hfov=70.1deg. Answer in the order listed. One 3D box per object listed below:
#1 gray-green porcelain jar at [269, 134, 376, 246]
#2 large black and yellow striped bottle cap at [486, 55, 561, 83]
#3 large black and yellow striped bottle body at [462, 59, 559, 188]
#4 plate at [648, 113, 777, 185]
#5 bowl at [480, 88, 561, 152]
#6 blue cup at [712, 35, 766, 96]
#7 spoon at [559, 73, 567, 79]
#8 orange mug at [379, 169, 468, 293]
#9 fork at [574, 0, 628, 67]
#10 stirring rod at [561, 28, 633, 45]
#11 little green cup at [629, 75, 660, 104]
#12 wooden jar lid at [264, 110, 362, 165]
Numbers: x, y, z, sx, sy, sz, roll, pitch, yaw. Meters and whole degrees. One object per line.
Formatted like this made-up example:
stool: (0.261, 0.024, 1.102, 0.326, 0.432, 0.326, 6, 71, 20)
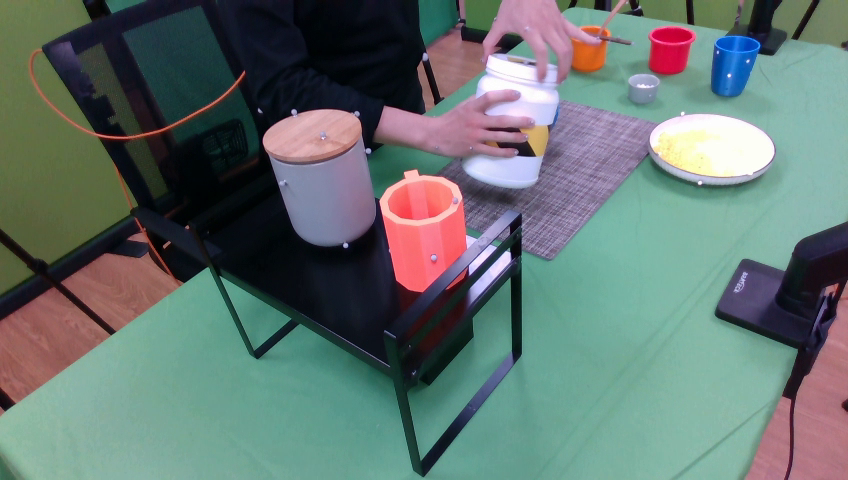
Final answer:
gray-green porcelain jar: (-0.115, -0.064, 0.715, 0.106, 0.127, 0.105, -4, 40, 4)
large black and yellow striped bottle cap: (0.154, -0.265, 0.935, 0.115, 0.019, 0.114, 10, 23, -4)
large black and yellow striped bottle body: (0.140, -0.190, 0.969, 0.131, 0.184, 0.130, 10, 24, -4)
plate: (0.506, -0.158, 1.073, 0.209, 0.038, 0.208, -5, 40, 4)
bowl: (0.185, -0.222, 1.160, 0.151, 0.077, 0.150, -4, 40, 4)
blue cup: (0.627, -0.350, 1.227, 0.092, 0.100, 0.092, -4, 39, 4)
spoon: (0.250, -0.336, 1.332, 0.194, 0.022, 0.041, -32, 32, -25)
orange mug: (-0.002, -0.019, 0.665, 0.083, 0.101, 0.125, -12, 45, -4)
fork: (0.413, -0.481, 1.377, 0.207, 0.019, 0.028, -56, 43, 12)
stirring rod: (0.382, -0.453, 1.345, 0.174, 0.006, 0.014, 26, 52, 34)
little green cup: (0.458, -0.314, 1.260, 0.061, 0.039, 0.061, -4, 40, 4)
wooden jar lid: (-0.122, -0.112, 0.673, 0.108, 0.021, 0.108, -4, 37, 4)
